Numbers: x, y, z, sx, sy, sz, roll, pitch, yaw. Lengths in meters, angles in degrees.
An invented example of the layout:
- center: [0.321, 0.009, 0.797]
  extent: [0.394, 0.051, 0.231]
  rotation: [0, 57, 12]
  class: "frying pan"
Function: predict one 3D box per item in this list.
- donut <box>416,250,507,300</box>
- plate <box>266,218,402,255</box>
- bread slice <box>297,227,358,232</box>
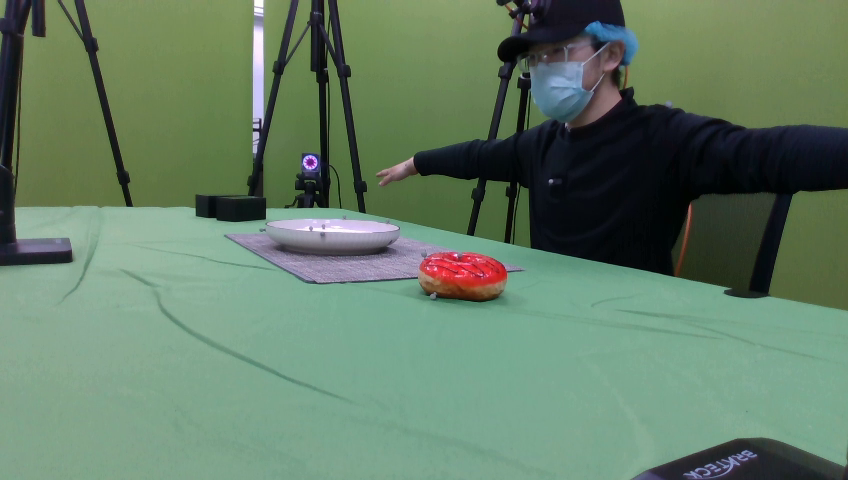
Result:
- center: [0.040, 0.038, 0.650]
  extent: [0.099, 0.048, 0.099]
  rotation: [4, 9, 0]
  class: "donut"
- center: [-0.138, -0.006, 0.941]
  extent: [0.208, 0.039, 0.207]
  rotation: [2, 7, 0]
  class: "plate"
- center: [-0.142, -0.004, 0.939]
  extent: [0.131, 0.019, 0.105]
  rotation: [8, 9, 33]
  class: "bread slice"
